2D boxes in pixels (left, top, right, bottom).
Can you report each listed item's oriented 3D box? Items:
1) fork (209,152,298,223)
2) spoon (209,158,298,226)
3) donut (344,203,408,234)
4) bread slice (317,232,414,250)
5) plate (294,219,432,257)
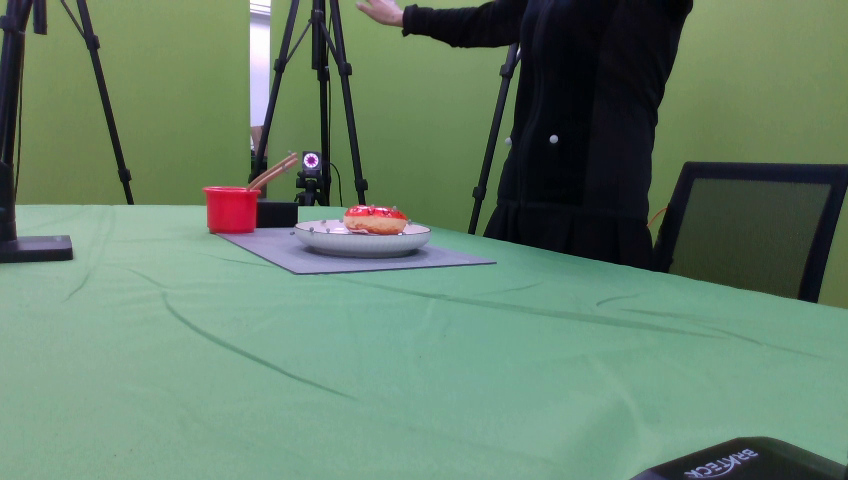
[{"bbox_3d":[-0.296,-0.088,1.044,0.207,0.018,0.028,-38,9,15],"label":"fork"},{"bbox_3d":[-0.303,-0.086,1.082,0.194,0.022,0.041,-44,24,-8],"label":"spoon"},{"bbox_3d":[-0.073,-0.031,0.931,0.099,0.048,0.099,4,3,0],"label":"donut"},{"bbox_3d":[-0.093,0.000,0.915,0.132,0.019,0.104,0,6,-26],"label":"bread slice"},{"bbox_3d":[-0.092,-0.004,0.924,0.209,0.038,0.209,2,7,0],"label":"plate"}]
